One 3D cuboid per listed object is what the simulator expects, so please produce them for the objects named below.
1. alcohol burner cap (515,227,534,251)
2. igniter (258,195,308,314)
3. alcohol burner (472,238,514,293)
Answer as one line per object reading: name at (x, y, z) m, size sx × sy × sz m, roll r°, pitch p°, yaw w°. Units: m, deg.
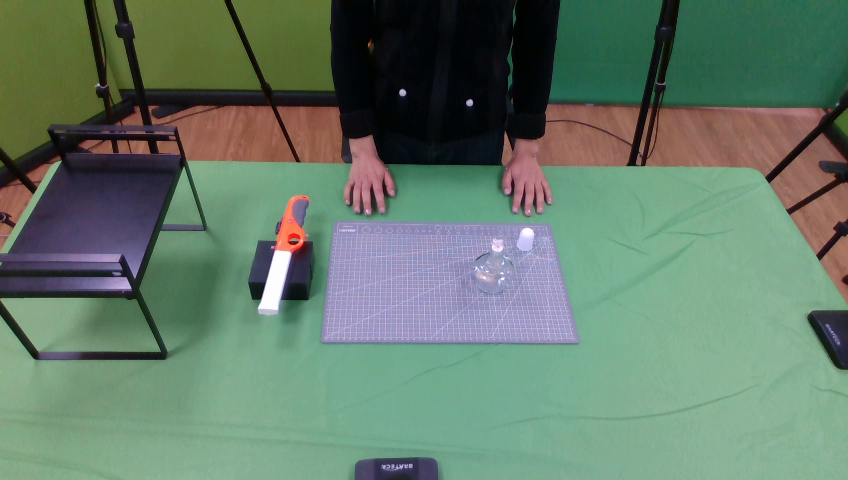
alcohol burner cap at (0.202, -0.005, 1.201) m, size 0.034 × 0.048 × 0.033 m, roll 3°, pitch 46°, yaw -3°
igniter at (-0.252, 0.016, 1.094) m, size 0.057 × 0.025 × 0.275 m, roll 6°, pitch 48°, yaw -2°
alcohol burner at (0.128, 0.041, 1.101) m, size 0.078 × 0.120 × 0.077 m, roll 1°, pitch 47°, yaw -1°
